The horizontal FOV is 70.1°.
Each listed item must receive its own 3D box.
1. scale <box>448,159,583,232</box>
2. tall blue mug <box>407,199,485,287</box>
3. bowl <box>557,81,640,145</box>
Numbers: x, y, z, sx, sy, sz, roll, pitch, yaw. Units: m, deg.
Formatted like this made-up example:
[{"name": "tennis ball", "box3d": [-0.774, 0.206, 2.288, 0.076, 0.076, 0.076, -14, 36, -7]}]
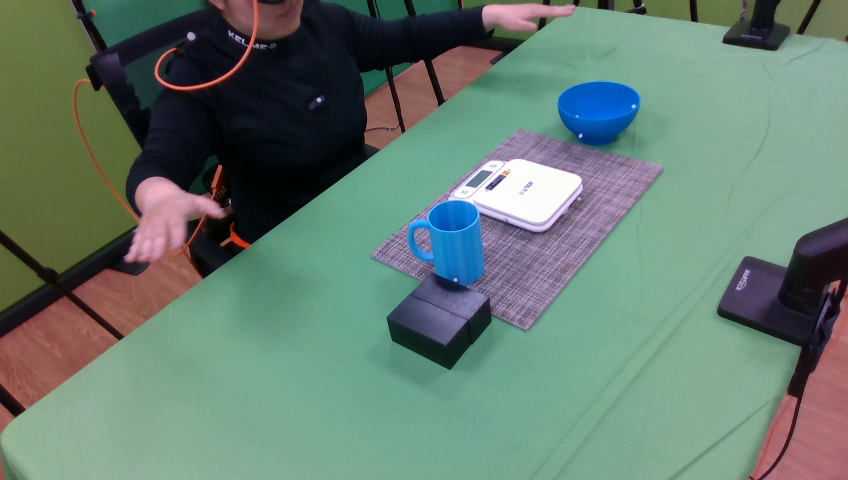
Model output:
[{"name": "scale", "box3d": [0.156, -0.085, 1.039, 0.199, 0.032, 0.149, 22, 49, 32]}, {"name": "tall blue mug", "box3d": [0.034, 0.008, 0.892, 0.107, 0.108, 0.077, -13, 41, -5]}, {"name": "bowl", "box3d": [0.330, -0.233, 1.152, 0.151, 0.077, 0.150, -5, 40, 5]}]
